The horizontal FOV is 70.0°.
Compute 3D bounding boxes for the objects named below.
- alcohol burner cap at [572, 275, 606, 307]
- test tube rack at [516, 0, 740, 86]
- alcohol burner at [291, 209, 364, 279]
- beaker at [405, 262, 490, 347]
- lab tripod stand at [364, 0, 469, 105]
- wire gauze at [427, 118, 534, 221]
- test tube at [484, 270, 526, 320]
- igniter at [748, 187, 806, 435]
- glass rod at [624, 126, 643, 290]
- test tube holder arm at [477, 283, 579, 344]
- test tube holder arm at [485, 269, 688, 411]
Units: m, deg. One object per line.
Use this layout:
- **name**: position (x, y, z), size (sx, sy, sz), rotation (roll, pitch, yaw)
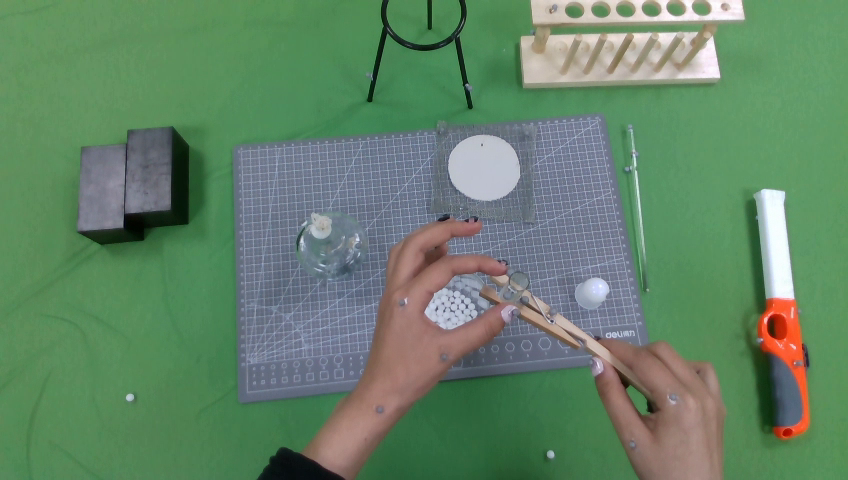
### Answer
- **alcohol burner cap**: position (0.183, 0.054, 0.665), size (0.034, 0.048, 0.033), rotation (0, 75, -1)
- **test tube rack**: position (0.239, -0.238, 0.724), size (0.242, 0.085, 0.066), rotation (-2, 75, -1)
- **alcohol burner**: position (-0.104, -0.001, 0.637), size (0.078, 0.120, 0.077), rotation (0, 74, 2)
- **beaker**: position (0.023, 0.072, 0.628), size (0.084, 0.101, 0.073), rotation (-13, 75, -4)
- **lab tripod stand**: position (-0.006, -0.221, 0.690), size (0.148, 0.132, 0.147), rotation (0, 77, -1)
- **wire gauze**: position (0.069, -0.086, 0.718), size (0.125, 0.011, 0.121), rotation (6, 76, 0)
- **test tube**: position (0.064, 0.048, 0.499), size (0.017, 0.151, 0.017), rotation (0, 74, -1)
- **igniter**: position (0.391, 0.073, 0.674), size (0.057, 0.025, 0.275), rotation (5, 75, -10)
- **glass rod**: position (0.246, -0.040, 0.711), size (0.008, 0.008, 0.198), rotation (0, 78, -1)
- **test tube holder arm**: position (0.082, 0.058, 0.475), size (0.087, 0.015, 0.010), rotation (26, 82, 8)
- **test tube holder arm**: position (0.123, 0.076, 0.468), size (0.178, 0.015, 0.013), rotation (33, 84, 9)
